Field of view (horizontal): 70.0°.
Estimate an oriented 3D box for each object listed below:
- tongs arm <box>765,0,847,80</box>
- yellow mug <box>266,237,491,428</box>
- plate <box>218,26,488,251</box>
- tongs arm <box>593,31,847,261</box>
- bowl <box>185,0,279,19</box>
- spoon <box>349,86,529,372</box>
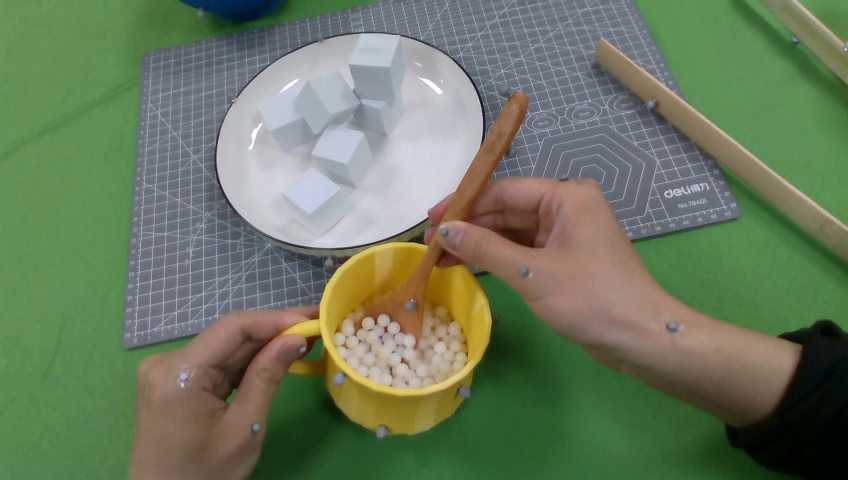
[{"bbox_3d":[0.330,-0.073,0.425,0.051,0.027,0.381,-25,64,-6],"label":"tongs arm"},{"bbox_3d":[-0.029,0.058,0.367,0.131,0.064,0.099,-7,56,-12],"label":"yellow mug"},{"bbox_3d":[-0.053,-0.080,0.473,0.207,0.039,0.206,-3,62,6],"label":"plate"},{"bbox_3d":[0.259,-0.033,0.416,0.028,0.028,0.384,-35,65,-15],"label":"tongs arm"},{"bbox_3d":[-0.179,-0.264,0.567,0.151,0.077,0.150,-3,62,7],"label":"bowl"},{"bbox_3d":[0.008,0.001,0.346,0.041,0.194,0.021,34,26,9],"label":"spoon"}]
